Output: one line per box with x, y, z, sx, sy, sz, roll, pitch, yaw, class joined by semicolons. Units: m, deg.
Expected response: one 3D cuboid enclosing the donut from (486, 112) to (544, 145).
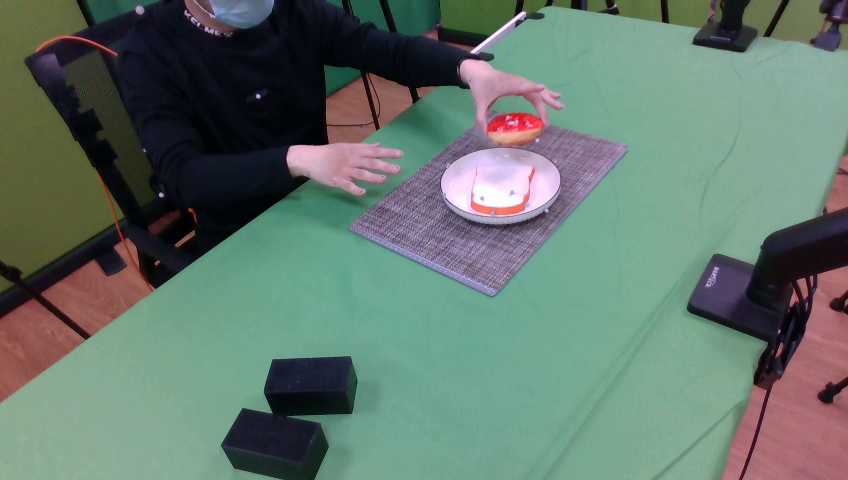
0.156;-0.190;1.036;0.099;0.048;0.098;-7;23;4;donut

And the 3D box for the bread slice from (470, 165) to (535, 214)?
0.134;-0.090;1.038;0.104;0.019;0.131;3;40;12;bread slice

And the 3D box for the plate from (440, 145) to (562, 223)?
0.131;-0.093;1.040;0.207;0.039;0.206;-4;41;4;plate
